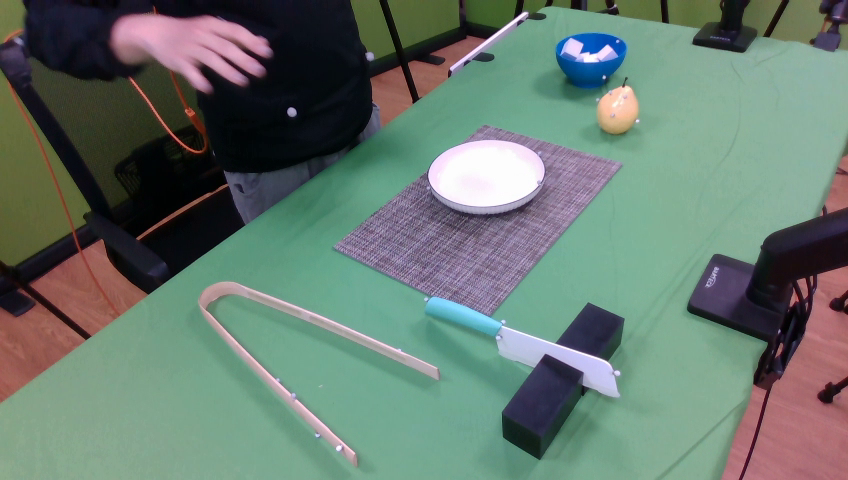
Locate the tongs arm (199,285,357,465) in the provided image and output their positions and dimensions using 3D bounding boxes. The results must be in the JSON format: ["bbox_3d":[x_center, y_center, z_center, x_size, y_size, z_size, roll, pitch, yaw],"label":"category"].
[{"bbox_3d":[-0.199,0.162,0.797,0.381,0.026,0.051,28,50,35],"label":"tongs arm"}]

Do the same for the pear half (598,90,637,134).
[{"bbox_3d":[0.365,-0.235,1.137,0.070,0.088,0.031,10,43,5],"label":"pear half"}]

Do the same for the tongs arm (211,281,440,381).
[{"bbox_3d":[-0.148,0.121,0.845,0.385,0.028,0.028,17,48,25],"label":"tongs arm"}]

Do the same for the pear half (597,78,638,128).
[{"bbox_3d":[0.373,-0.266,1.155,0.076,0.110,0.056,10,44,4],"label":"pear half"}]

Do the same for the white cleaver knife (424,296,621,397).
[{"bbox_3d":[0.110,0.132,0.761,0.284,0.066,0.021,17,42,39],"label":"white cleaver knife"}]

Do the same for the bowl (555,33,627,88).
[{"bbox_3d":[0.360,-0.384,1.317,0.151,0.077,0.150,-4,41,4],"label":"bowl"}]

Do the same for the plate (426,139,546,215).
[{"bbox_3d":[0.109,-0.107,1.058,0.207,0.039,0.206,-4,40,4],"label":"plate"}]
